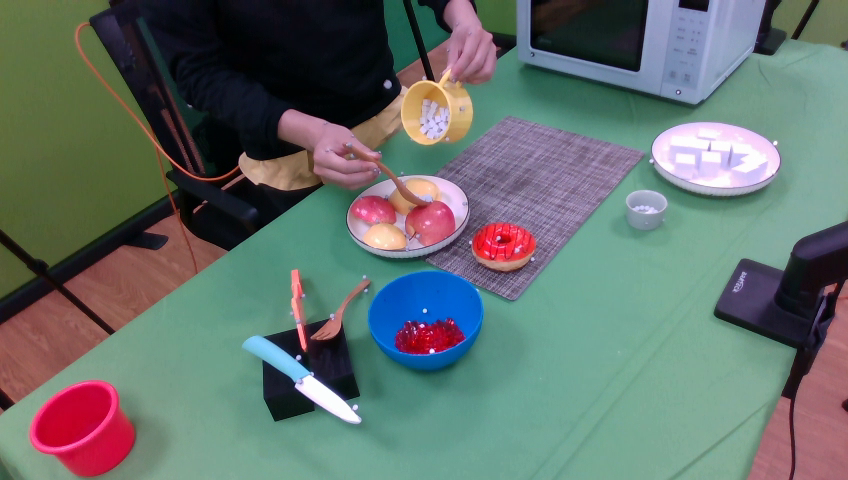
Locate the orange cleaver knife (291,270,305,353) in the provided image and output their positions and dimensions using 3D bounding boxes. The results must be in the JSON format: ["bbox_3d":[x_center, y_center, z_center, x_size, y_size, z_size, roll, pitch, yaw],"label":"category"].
[{"bbox_3d":[-0.175,0.094,0.844,0.012,0.077,0.210,-11,14,-10],"label":"orange cleaver knife"}]

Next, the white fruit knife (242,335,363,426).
[{"bbox_3d":[-0.148,0.167,0.730,0.206,0.016,0.027,26,80,31],"label":"white fruit knife"}]

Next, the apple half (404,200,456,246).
[{"bbox_3d":[0.009,-0.035,0.969,0.075,0.053,0.080,-27,40,-22],"label":"apple half"}]

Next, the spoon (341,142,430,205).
[{"bbox_3d":[-0.053,-0.096,0.883,0.041,0.195,0.021,24,81,44],"label":"spoon"}]

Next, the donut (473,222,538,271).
[{"bbox_3d":[0.123,0.009,0.923,0.099,0.048,0.098,-3,37,3],"label":"donut"}]

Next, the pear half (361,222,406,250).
[{"bbox_3d":[-0.063,-0.012,0.958,0.071,0.031,0.087,2,25,-26],"label":"pear half"}]

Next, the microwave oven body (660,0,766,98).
[{"bbox_3d":[0.472,-0.513,1.317,0.438,0.261,0.327,26,51,34],"label":"microwave oven body"}]

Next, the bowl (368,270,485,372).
[{"bbox_3d":[0.007,0.118,0.791,0.151,0.077,0.150,-5,40,4],"label":"bowl"}]

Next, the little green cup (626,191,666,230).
[{"bbox_3d":[0.352,-0.046,0.963,0.061,0.039,0.061,-4,40,4],"label":"little green cup"}]

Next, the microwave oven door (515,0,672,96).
[{"bbox_3d":[0.344,-0.455,1.259,0.353,0.245,0.039,26,51,33],"label":"microwave oven door"}]

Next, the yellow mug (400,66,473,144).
[{"bbox_3d":[0.026,-0.219,0.969,0.099,0.131,0.064,40,30,21],"label":"yellow mug"}]

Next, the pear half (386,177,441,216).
[{"bbox_3d":[-0.030,-0.079,1.033,0.109,0.056,0.076,-1,36,16],"label":"pear half"}]

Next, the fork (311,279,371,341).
[{"bbox_3d":[-0.108,0.092,0.832,0.028,0.019,0.207,-6,19,15],"label":"fork"}]

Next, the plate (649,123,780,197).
[{"bbox_3d":[0.497,-0.135,1.046,0.207,0.039,0.206,-4,40,4],"label":"plate"}]

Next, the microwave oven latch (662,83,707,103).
[{"bbox_3d":[0.517,-0.296,1.204,0.078,0.029,0.030,28,52,35],"label":"microwave oven latch"}]

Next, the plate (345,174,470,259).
[{"bbox_3d":[-0.026,-0.037,1.004,0.209,0.038,0.208,-4,40,4],"label":"plate"}]

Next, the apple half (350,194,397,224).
[{"bbox_3d":[-0.080,-0.056,1.008,0.081,0.033,0.081,8,27,-4],"label":"apple half"}]
